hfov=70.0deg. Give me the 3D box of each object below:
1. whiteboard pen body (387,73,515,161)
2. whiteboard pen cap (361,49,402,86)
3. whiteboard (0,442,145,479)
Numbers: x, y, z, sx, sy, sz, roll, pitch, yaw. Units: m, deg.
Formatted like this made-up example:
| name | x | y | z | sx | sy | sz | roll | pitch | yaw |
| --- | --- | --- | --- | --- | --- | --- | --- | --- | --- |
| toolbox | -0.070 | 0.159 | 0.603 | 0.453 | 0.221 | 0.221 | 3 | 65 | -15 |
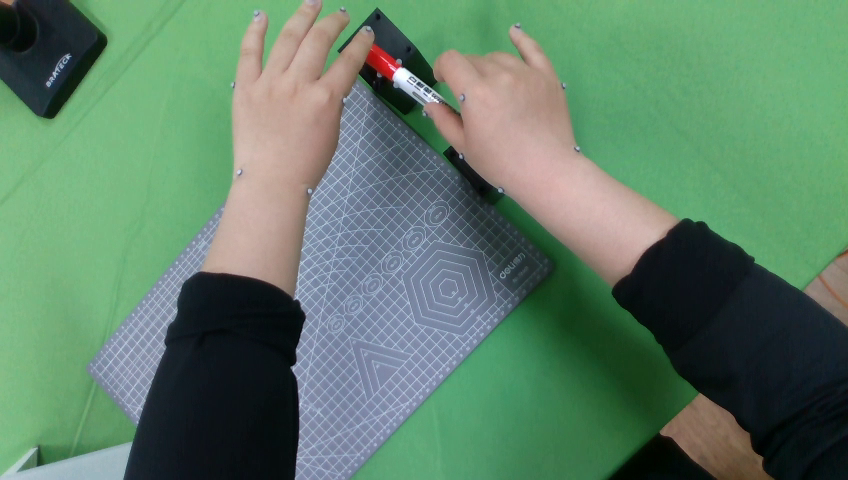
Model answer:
| name | x | y | z | sx | sy | sz | roll | pitch | yaw |
| --- | --- | --- | --- | --- | --- | --- | --- | --- | --- |
| whiteboard pen body | 0.013 | -0.107 | 0.499 | 0.140 | 0.017 | 0.017 | 34 | 97 | 6 |
| whiteboard pen cap | -0.035 | -0.144 | 0.507 | 0.032 | 0.017 | 0.017 | 39 | 98 | 6 |
| whiteboard | -0.458 | 0.323 | 0.587 | 0.143 | 0.307 | 0.217 | 5 | 91 | 32 |
